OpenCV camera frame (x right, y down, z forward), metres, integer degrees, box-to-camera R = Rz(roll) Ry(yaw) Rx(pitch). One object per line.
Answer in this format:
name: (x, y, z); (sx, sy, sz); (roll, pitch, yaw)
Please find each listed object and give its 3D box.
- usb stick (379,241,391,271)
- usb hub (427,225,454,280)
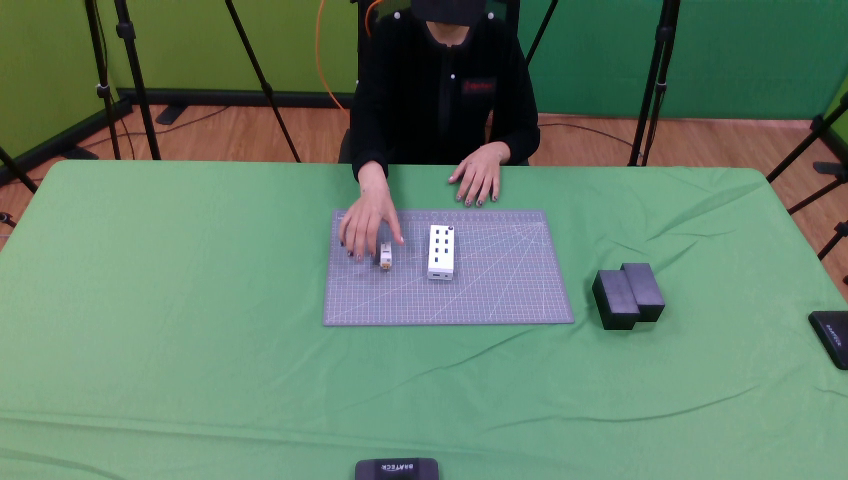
usb stick: (-0.074, 0.031, 1.156); (0.021, 0.027, 0.059); (0, 50, -4)
usb hub: (0.033, 0.022, 1.174); (0.049, 0.025, 0.124); (4, 46, -1)
